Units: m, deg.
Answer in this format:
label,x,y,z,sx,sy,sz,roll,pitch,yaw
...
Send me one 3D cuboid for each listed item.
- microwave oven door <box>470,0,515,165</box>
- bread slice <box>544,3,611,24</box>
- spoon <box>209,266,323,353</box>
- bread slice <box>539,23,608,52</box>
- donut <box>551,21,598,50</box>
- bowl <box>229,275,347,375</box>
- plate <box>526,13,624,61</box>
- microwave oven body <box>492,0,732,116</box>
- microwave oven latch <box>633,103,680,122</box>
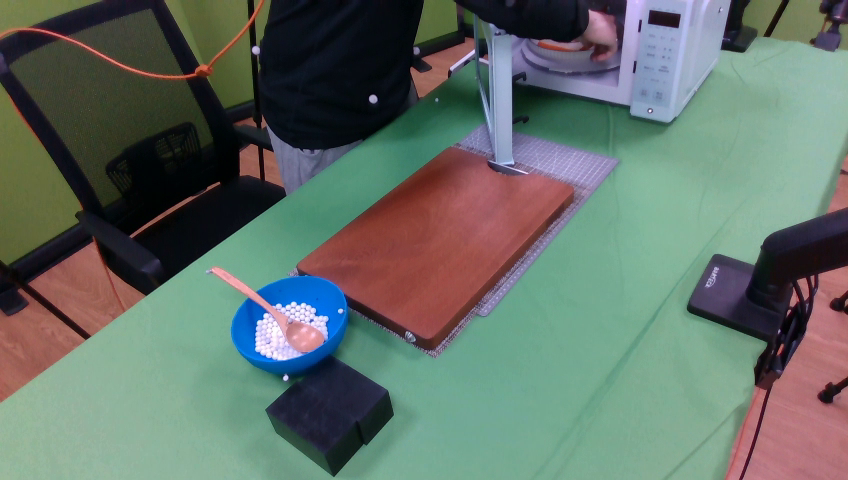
label,x,y,z,sx,sy,sz,roll,pitch,yaw
microwave oven door,0.127,-0.341,1.153,0.039,0.245,0.354,-7,40,2
bread slice,0.330,-0.482,1.280,0.106,0.018,0.135,22,38,33
spoon,-0.213,0.088,0.806,0.193,0.021,0.042,37,55,11
bread slice,0.336,-0.450,1.334,0.132,0.019,0.104,-22,42,-18
donut,0.321,-0.442,1.294,0.099,0.048,0.098,-2,45,3
bowl,-0.171,0.125,0.802,0.151,0.077,0.150,-4,40,4
plate,0.330,-0.446,1.329,0.207,0.039,0.206,-6,43,6
microwave oven body,0.377,-0.462,1.267,0.438,0.261,0.327,21,49,30
microwave oven latch,0.443,-0.249,1.157,0.078,0.029,0.030,21,49,30
